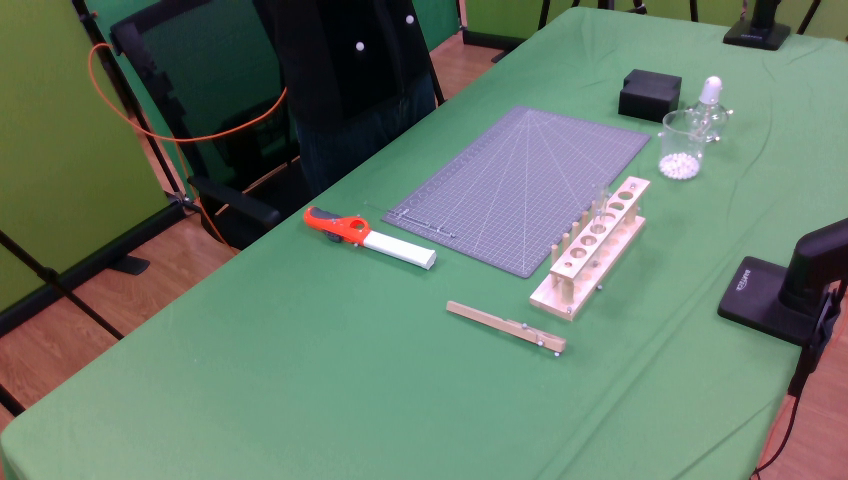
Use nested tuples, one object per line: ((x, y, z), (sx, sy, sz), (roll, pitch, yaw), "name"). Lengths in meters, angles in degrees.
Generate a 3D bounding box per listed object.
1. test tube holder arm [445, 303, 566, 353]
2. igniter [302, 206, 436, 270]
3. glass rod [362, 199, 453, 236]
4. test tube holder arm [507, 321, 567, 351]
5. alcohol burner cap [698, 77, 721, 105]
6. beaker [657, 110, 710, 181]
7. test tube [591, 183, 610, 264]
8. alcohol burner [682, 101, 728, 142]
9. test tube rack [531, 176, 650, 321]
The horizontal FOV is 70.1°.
((0.107, 0.117, 0.824), (0.177, 0.015, 0.013), (16, 11, 27), "test tube holder arm")
((-0.101, -0.007, 1.004), (0.274, 0.025, 0.057), (20, 58, 29), "igniter")
((-0.031, -0.041, 1.041), (0.198, 0.008, 0.008), (22, 50, 31), "glass rod")
((0.148, 0.128, 0.808), (0.087, 0.015, 0.010), (16, 11, 28), "test tube holder arm")
((0.509, -0.266, 1.072), (0.034, 0.048, 0.033), (-4, 48, 5), "alcohol burner cap")
((0.438, -0.156, 1.024), (0.074, 0.101, 0.083), (-14, 41, -4), "beaker")
((0.242, -0.019, 0.832), (0.017, 0.151, 0.017), (-5, 46, 6), "test tube")
((0.513, -0.239, 1.097), (0.078, 0.119, 0.077), (-4, 40, 4), "alcohol burner")
((0.246, 0.002, 0.884), (0.066, 0.085, 0.243), (22, 49, 32), "test tube rack")
